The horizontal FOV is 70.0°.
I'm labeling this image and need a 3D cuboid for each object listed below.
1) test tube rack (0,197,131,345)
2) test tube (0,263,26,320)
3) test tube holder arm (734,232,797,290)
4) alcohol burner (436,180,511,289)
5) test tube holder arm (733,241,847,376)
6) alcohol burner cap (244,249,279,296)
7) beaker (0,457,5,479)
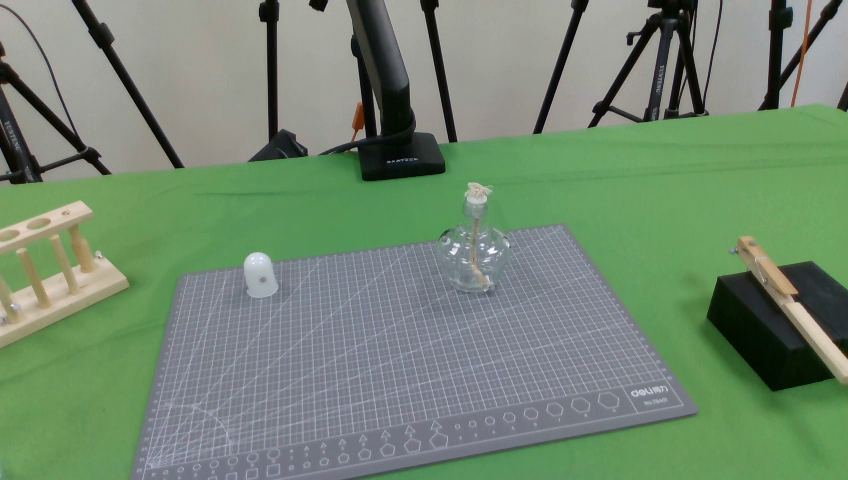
[{"bbox_3d":[-0.428,0.051,0.586,0.066,0.086,0.242,28,45,36],"label":"test tube rack"},{"bbox_3d":[-0.404,0.014,0.559,0.017,0.151,0.017,0,35,1],"label":"test tube"},{"bbox_3d":[0.312,0.020,0.556,0.015,0.010,0.087,-2,35,-1],"label":"test tube holder arm"},{"bbox_3d":[0.051,-0.009,0.619,0.078,0.120,0.077,0,35,0],"label":"alcohol burner"},{"bbox_3d":[0.313,0.050,0.522,0.015,0.013,0.176,-2,34,-1],"label":"test tube holder arm"},{"bbox_3d":[-0.173,0.032,0.634,0.034,0.048,0.033,-2,34,2],"label":"alcohol burner cap"},{"bbox_3d":[-0.355,0.150,0.426,0.083,0.101,0.073,9,36,17],"label":"beaker"}]
